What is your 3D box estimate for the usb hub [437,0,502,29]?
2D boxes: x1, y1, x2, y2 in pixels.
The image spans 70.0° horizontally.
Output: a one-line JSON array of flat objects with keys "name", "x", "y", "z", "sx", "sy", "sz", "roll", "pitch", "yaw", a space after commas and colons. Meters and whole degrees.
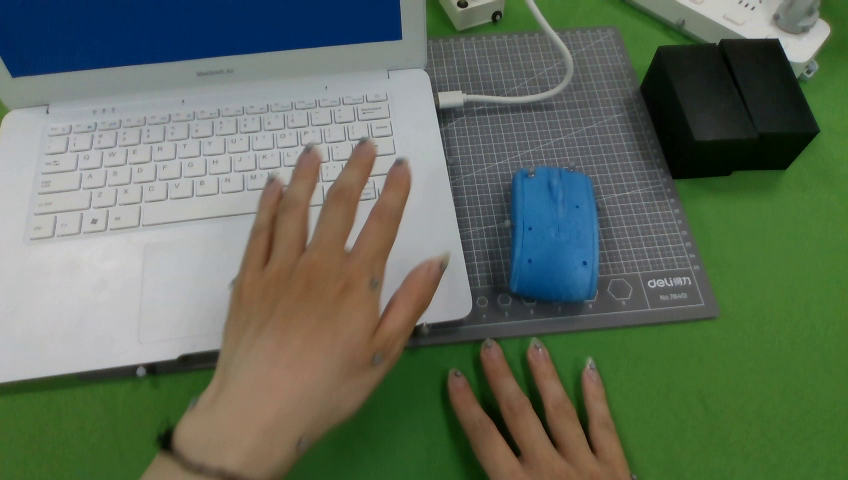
[{"name": "usb hub", "x": 0.027, "y": -0.261, "z": 0.594, "sx": 0.049, "sy": 0.025, "sz": 0.124, "roll": -20, "pitch": 63, "yaw": -12}]

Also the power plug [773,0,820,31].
[{"name": "power plug", "x": 0.346, "y": -0.212, "z": 0.545, "sx": 0.072, "sy": 0.053, "sz": 0.035, "roll": -35, "pitch": 66, "yaw": -17}]

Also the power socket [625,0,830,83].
[{"name": "power socket", "x": 0.271, "y": -0.226, "z": 0.576, "sx": 0.225, "sy": 0.033, "sz": 0.072, "roll": 38, "pitch": 66, "yaw": 18}]

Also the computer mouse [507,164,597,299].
[{"name": "computer mouse", "x": 0.095, "y": -0.011, "z": 0.449, "sx": 0.063, "sy": 0.041, "sz": 0.116, "roll": 5, "pitch": 57, "yaw": 4}]

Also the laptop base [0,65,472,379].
[{"name": "laptop base", "x": -0.155, "y": -0.026, "z": 0.465, "sx": 0.355, "sy": 0.023, "sz": 0.233, "roll": -7, "pitch": 65, "yaw": -5}]

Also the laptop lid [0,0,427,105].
[{"name": "laptop lid", "x": -0.176, "y": -0.208, "z": 0.432, "sx": 0.357, "sy": 0.244, "sz": 0.013, "roll": -8, "pitch": 48, "yaw": -4}]
